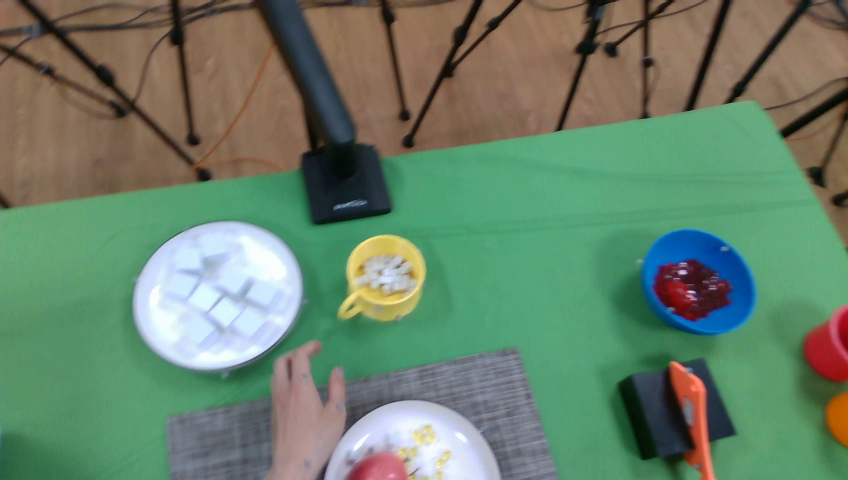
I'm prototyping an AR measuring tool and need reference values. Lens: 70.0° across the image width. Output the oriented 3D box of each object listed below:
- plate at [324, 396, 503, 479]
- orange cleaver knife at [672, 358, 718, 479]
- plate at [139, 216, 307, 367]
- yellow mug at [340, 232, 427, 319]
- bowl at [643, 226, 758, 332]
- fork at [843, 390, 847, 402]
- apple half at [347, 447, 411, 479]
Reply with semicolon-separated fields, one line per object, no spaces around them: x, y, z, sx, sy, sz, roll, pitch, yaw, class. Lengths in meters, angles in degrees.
-0.013;0.289;0.705;0.209;0.038;0.207;3;64;-5;plate
0.332;0.251;0.738;0.012;0.077;0.211;-9;89;-6;orange cleaver knife
-0.257;0.067;0.792;0.208;0.039;0.206;2;64;-5;plate
-0.060;0.057;0.802;0.131;0.064;0.099;-40;74;-21;yellow mug
0.365;0.064;0.835;0.151;0.077;0.150;2;64;-4;bowl
0.578;0.245;0.728;0.028;0.019;0.206;5;20;-3;fork
-0.049;0.278;0.690;0.075;0.054;0.080;-12;67;-8;apple half
